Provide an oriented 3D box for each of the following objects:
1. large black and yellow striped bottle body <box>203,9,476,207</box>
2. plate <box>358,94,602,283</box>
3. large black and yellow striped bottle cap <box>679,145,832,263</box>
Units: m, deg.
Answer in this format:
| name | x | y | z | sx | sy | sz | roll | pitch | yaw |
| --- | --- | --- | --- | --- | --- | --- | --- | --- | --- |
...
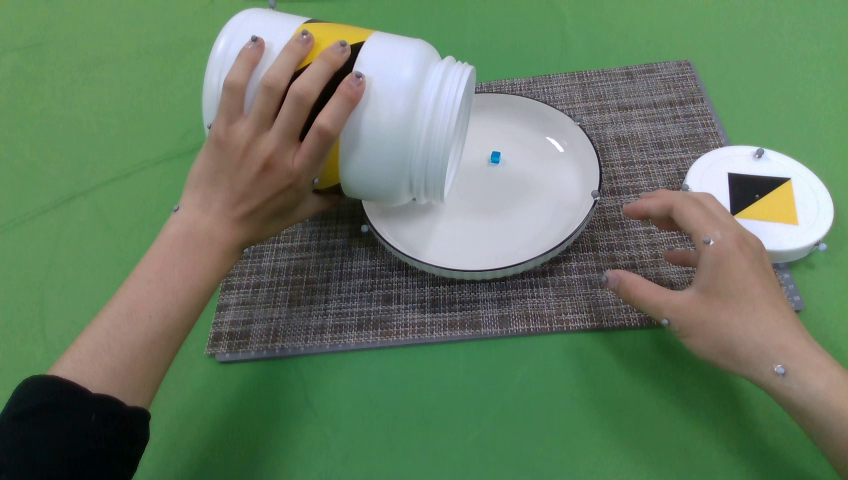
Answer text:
| name | x | y | z | sx | sy | sz | roll | pitch | yaw |
| --- | --- | --- | --- | --- | --- | --- | --- | --- | --- |
| large black and yellow striped bottle body | -0.060 | -0.100 | 0.479 | 0.184 | 0.132 | 0.130 | 13 | 56 | 6 |
| plate | 0.047 | -0.046 | 0.528 | 0.207 | 0.039 | 0.205 | -4 | 53 | 6 |
| large black and yellow striped bottle cap | 0.271 | -0.032 | 0.497 | 0.115 | 0.019 | 0.114 | -2 | 54 | 3 |
